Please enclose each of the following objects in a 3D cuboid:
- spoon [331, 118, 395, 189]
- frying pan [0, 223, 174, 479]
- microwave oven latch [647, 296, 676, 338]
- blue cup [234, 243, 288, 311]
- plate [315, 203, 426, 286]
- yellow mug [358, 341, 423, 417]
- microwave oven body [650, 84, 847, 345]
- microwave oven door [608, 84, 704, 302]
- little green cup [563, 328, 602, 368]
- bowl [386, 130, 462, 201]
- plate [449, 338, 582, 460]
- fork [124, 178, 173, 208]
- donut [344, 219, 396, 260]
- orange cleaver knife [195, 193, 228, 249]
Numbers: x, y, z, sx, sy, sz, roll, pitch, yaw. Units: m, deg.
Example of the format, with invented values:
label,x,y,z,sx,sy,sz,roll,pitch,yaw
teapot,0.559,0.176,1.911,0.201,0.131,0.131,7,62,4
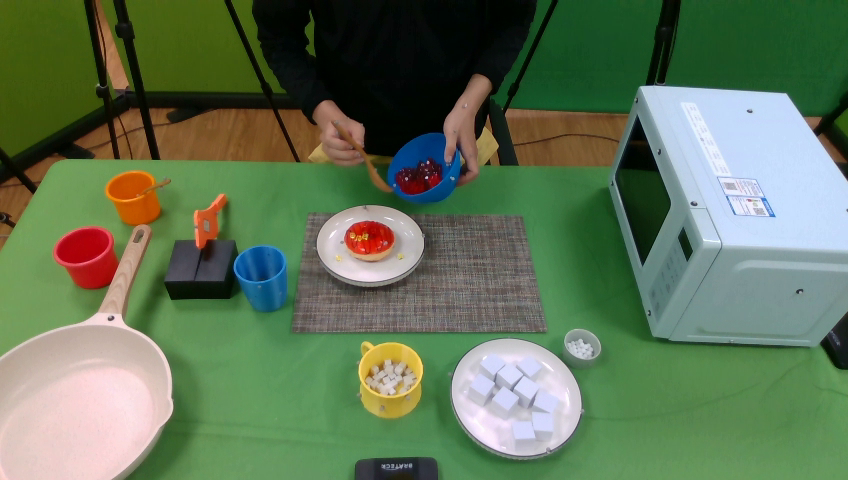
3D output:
label,x,y,z,sx,sy,sz,roll,pitch,yaw
spoon,-0.105,-0.147,1.054,0.021,0.195,0.041,-46,45,-10
frying pan,-0.505,0.169,0.941,0.307,0.103,0.485,5,54,-1
microwave oven latch,0.413,0.133,1.060,0.030,0.029,0.078,4,46,1
blue cup,-0.276,0.072,1.052,0.093,0.101,0.092,1,48,-1
plate,-0.101,0.012,1.159,0.209,0.038,0.208,2,46,-2
yellow mug,-0.062,0.210,0.961,0.100,0.064,0.130,-29,54,-27
microwave oven body,0.569,-0.054,1.116,0.326,0.261,0.439,2,46,-1
microwave oven door,0.424,-0.096,1.138,0.039,0.245,0.353,3,46,-1
little green cup,0.265,0.184,1.025,0.061,0.039,0.061,1,46,-1
bowl,0.013,-0.127,1.161,0.151,0.077,0.150,-16,52,22
plate,0.141,0.251,0.955,0.208,0.039,0.206,2,46,-2
fork,-0.525,-0.089,1.153,0.207,0.019,0.028,-17,27,45
donut,-0.103,-0.002,1.157,0.099,0.048,0.098,3,43,-3
orange cleaver knife,-0.406,-0.041,1.163,0.012,0.077,0.210,0,18,-3
